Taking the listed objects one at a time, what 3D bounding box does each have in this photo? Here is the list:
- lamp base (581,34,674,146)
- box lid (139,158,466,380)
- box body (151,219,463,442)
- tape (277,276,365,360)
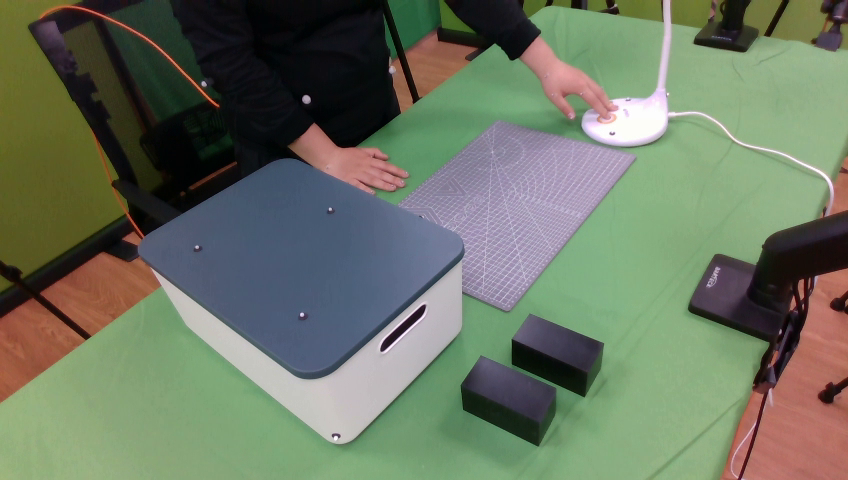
[{"bbox_3d":[0.393,-0.290,1.129,0.180,0.181,0.159,-11,41,-8],"label":"lamp base"},{"bbox_3d":[-0.158,0.010,0.758,0.368,0.015,0.264,26,50,33],"label":"box lid"},{"bbox_3d":[-0.152,0.064,0.807,0.361,0.161,0.255,26,51,33],"label":"box body"},{"bbox_3d":[-0.140,0.106,0.832,0.117,0.053,0.116,-4,41,4],"label":"tape"}]
